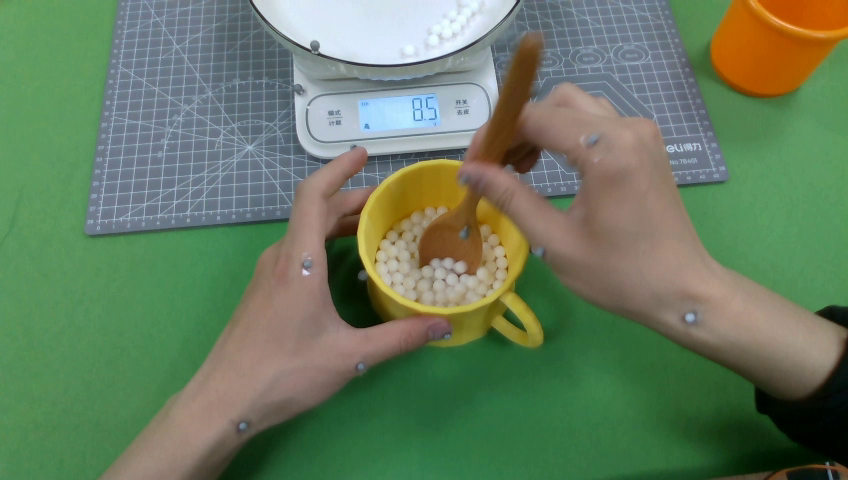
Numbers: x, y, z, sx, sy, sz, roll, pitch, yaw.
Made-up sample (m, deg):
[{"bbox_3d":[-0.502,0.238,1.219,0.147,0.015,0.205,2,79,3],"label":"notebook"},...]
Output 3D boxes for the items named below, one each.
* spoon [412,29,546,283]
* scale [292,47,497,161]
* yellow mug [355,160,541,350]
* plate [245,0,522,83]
[{"bbox_3d":[0.027,-0.029,0.318,0.041,0.195,0.021,26,59,3],"label":"spoon"},{"bbox_3d":[-0.026,-0.155,0.464,0.149,0.032,0.199,-5,66,-3],"label":"scale"},{"bbox_3d":[0.022,0.019,0.371,0.130,0.064,0.100,42,74,15],"label":"yellow mug"},{"bbox_3d":[-0.029,-0.195,0.446,0.209,0.038,0.207,1,66,-1],"label":"plate"}]
